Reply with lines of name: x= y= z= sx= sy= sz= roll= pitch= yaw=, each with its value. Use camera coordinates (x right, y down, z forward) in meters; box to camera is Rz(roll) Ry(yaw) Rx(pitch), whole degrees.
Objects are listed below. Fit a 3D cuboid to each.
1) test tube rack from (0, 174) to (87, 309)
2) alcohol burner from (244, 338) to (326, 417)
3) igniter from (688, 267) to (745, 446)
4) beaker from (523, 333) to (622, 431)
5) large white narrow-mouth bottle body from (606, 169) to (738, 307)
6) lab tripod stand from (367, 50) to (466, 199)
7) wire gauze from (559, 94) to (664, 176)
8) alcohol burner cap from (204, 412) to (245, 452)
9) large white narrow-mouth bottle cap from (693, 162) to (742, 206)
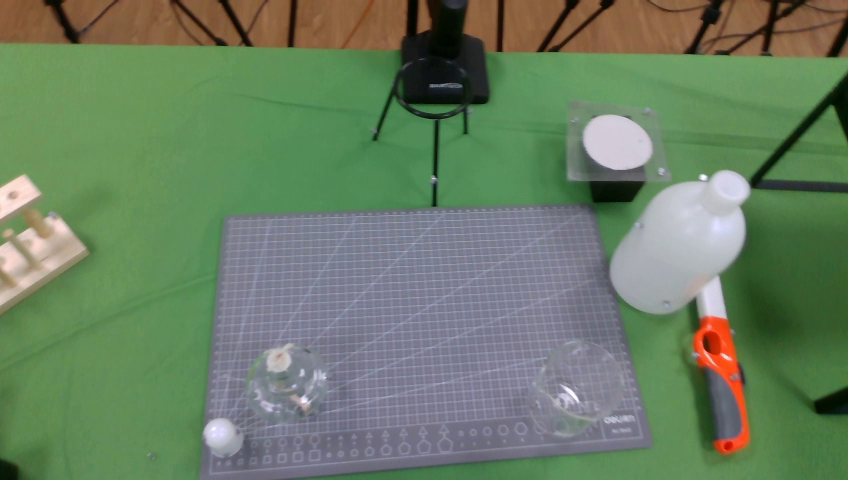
test tube rack: x=-0.481 y=0.045 z=0.603 sx=0.066 sy=0.086 sz=0.242 roll=42 pitch=66 yaw=17
alcohol burner: x=-0.132 y=0.124 z=0.572 sx=0.078 sy=0.120 sz=0.077 roll=3 pitch=60 yaw=-5
igniter: x=0.320 y=0.091 z=0.683 sx=0.057 sy=0.025 sz=0.274 roll=11 pitch=60 yaw=-13
beaker: x=0.137 y=0.144 z=0.594 sx=0.084 sy=0.101 sz=0.073 roll=-5 pitch=61 yaw=-7
large white narrow-mouth bottle body: x=0.266 y=-0.009 z=0.637 sx=0.102 sy=0.196 sz=0.101 roll=2 pitch=61 yaw=-3
lab tripod stand: x=0.000 y=-0.143 z=0.722 sx=0.148 sy=0.132 sz=0.147 roll=3 pitch=62 yaw=-5
wire gauze: x=0.228 y=-0.130 z=0.750 sx=0.121 sy=0.011 sz=0.124 roll=4 pitch=61 yaw=-3
alcohol burner cap: x=-0.192 y=0.182 z=0.577 sx=0.034 sy=0.048 sz=0.033 roll=2 pitch=62 yaw=-3
large white narrow-mouth bottle cap: x=0.271 y=-0.052 z=0.562 sx=0.038 sy=0.024 sz=0.037 roll=2 pitch=61 yaw=-3
